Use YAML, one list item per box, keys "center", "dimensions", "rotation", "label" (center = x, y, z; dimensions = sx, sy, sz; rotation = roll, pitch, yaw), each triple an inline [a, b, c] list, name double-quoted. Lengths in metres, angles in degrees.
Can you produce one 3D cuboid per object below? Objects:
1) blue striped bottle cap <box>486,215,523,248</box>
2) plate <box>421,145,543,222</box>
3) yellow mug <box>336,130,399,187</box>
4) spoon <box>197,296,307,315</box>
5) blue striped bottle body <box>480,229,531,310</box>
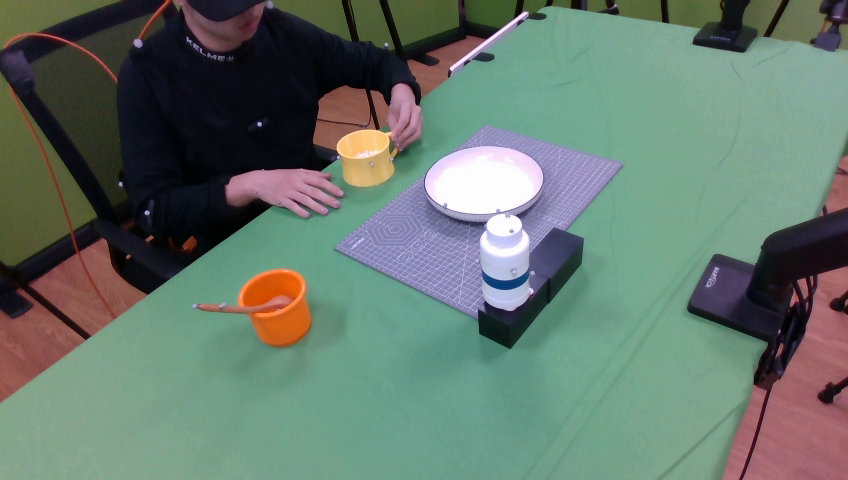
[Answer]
- center: [0.098, -0.011, 0.735]
  dimensions: [0.044, 0.021, 0.044]
  rotation: [-3, 38, 3]
  label: "blue striped bottle cap"
- center: [0.101, -0.094, 1.048]
  dimensions: [0.207, 0.039, 0.206]
  rotation: [-4, 41, 4]
  label: "plate"
- center: [-0.098, -0.161, 1.138]
  dimensions: [0.131, 0.064, 0.099]
  rotation: [-33, 46, -28]
  label: "yellow mug"
- center: [-0.220, 0.088, 0.793]
  dimensions: [0.041, 0.021, 0.195]
  rotation: [19, 7, 25]
  label: "spoon"
- center: [0.104, 0.027, 0.769]
  dimensions: [0.063, 0.121, 0.063]
  rotation: [-4, 40, 4]
  label: "blue striped bottle body"
